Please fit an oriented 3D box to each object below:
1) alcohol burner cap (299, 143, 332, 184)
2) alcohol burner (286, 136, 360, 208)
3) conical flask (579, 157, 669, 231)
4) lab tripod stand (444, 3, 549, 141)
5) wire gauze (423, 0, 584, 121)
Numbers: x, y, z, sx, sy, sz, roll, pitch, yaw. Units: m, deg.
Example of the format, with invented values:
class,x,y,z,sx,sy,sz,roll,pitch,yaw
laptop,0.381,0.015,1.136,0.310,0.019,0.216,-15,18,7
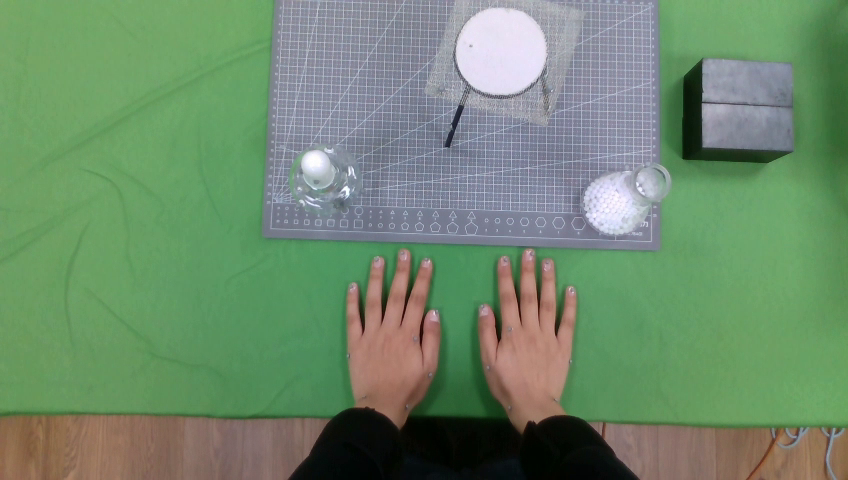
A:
class,x,y,z,sx,sy,sz,roll,pitch,yaw
alcohol burner cap,-0.108,-0.078,0.595,0.034,0.048,0.033,1,80,-4
alcohol burner,-0.108,-0.074,0.631,0.078,0.119,0.077,0,85,0
conical flask,0.213,-0.053,0.630,0.075,0.122,0.075,0,84,-1
lab tripod stand,0.069,-0.177,0.634,0.148,0.132,0.148,0,84,1
wire gauze,0.075,-0.183,0.567,0.121,0.011,0.125,19,84,1
